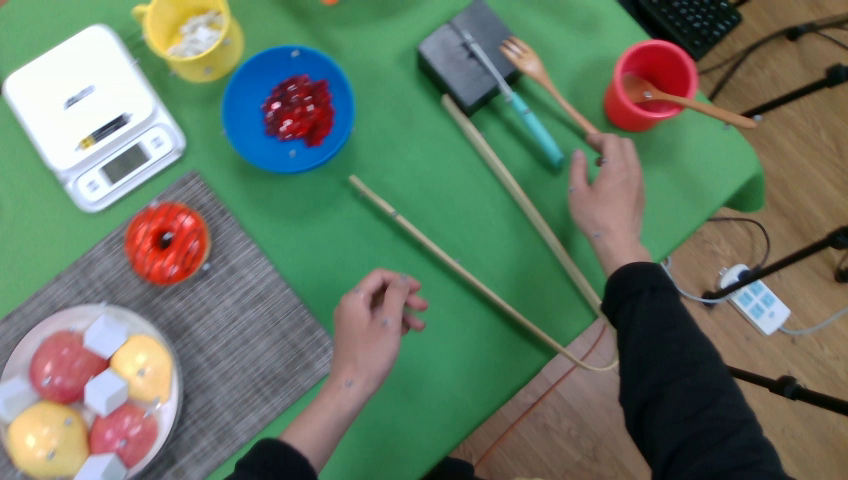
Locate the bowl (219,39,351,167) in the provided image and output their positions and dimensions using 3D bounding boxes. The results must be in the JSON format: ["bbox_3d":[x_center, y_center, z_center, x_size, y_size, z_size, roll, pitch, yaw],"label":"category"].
[{"bbox_3d":[-0.159,-0.153,0.729,0.151,0.077,0.151,0,83,-1],"label":"bowl"}]

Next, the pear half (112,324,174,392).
[{"bbox_3d":[-0.326,0.140,0.696,0.070,0.031,0.087,-39,83,8],"label":"pear half"}]

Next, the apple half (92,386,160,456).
[{"bbox_3d":[-0.345,0.207,0.684,0.081,0.033,0.081,0,77,2],"label":"apple half"}]

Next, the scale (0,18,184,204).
[{"bbox_3d":[-0.408,-0.160,0.747,0.148,0.031,0.200,-35,85,-5],"label":"scale"}]

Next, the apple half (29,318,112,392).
[{"bbox_3d":[-0.406,0.131,0.684,0.081,0.053,0.074,38,86,1],"label":"apple half"}]

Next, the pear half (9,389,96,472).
[{"bbox_3d":[-0.405,0.217,0.669,0.110,0.056,0.076,43,76,0],"label":"pear half"}]

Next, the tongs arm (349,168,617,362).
[{"bbox_3d":[0.069,0.025,0.732,0.384,0.026,0.050,41,82,3],"label":"tongs arm"}]

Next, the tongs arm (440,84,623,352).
[{"bbox_3d":[0.129,-0.032,0.740,0.028,0.028,0.387,-34,86,-11],"label":"tongs arm"}]

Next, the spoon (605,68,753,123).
[{"bbox_3d":[0.291,-0.168,0.707,0.041,0.022,0.191,-45,41,-7],"label":"spoon"}]

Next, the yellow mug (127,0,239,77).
[{"bbox_3d":[-0.302,-0.266,0.746,0.131,0.064,0.099,17,83,2],"label":"yellow mug"}]

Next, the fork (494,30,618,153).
[{"bbox_3d":[0.167,-0.180,0.746,0.208,0.018,0.028,42,81,-11],"label":"fork"}]

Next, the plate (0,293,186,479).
[{"bbox_3d":[-0.376,0.165,0.698,0.209,0.038,0.208,0,82,-1],"label":"plate"}]

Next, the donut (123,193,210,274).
[{"bbox_3d":[-0.305,-0.008,0.719,0.099,0.048,0.099,0,85,1],"label":"donut"}]

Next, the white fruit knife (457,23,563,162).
[{"bbox_3d":[0.104,-0.178,0.737,0.016,0.027,0.208,-42,100,-6],"label":"white fruit knife"}]
